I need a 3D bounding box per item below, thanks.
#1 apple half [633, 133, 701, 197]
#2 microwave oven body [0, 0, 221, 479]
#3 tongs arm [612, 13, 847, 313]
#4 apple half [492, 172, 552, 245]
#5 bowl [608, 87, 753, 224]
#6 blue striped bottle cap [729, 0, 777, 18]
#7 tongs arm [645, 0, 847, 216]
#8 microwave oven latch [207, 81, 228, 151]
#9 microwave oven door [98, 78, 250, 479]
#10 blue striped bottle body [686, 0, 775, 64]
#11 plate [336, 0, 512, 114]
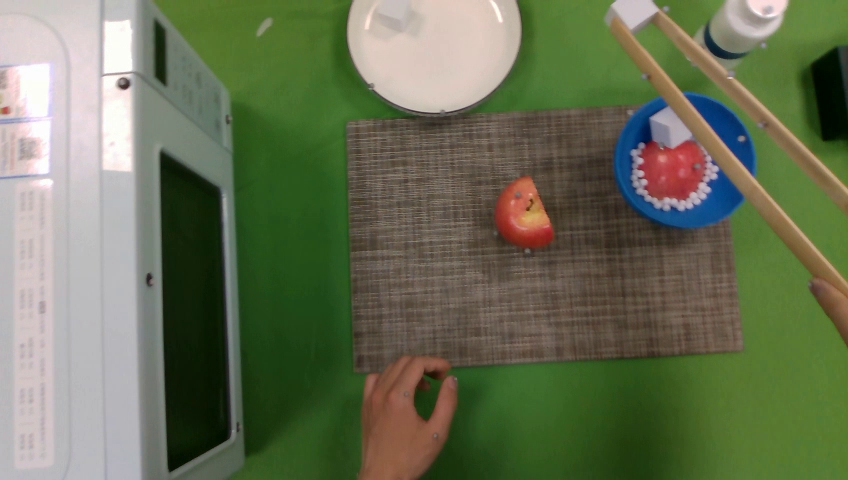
[{"bbox_3d":[0.277,-0.087,0.680,0.081,0.033,0.081,0,83,1],"label":"apple half"},{"bbox_3d":[-0.379,0.033,0.585,0.326,0.260,0.440,-5,84,-1],"label":"microwave oven body"},{"bbox_3d":[0.276,-0.063,0.519,0.028,0.028,0.384,-27,66,-6],"label":"tongs arm"},{"bbox_3d":[0.104,-0.029,0.683,0.053,0.075,0.080,-24,87,3],"label":"apple half"},{"bbox_3d":[0.276,-0.087,0.685,0.151,0.077,0.151,0,83,1],"label":"bowl"},{"bbox_3d":[0.346,-0.256,0.635,0.044,0.020,0.044,0,86,0],"label":"blue striped bottle cap"},{"bbox_3d":[0.298,-0.075,0.519,0.051,0.027,0.381,-32,67,-4],"label":"tongs arm"},{"bbox_3d":[-0.246,-0.143,0.701,0.030,0.029,0.079,-6,84,-1],"label":"microwave oven latch"},{"bbox_3d":[-0.229,0.061,0.576,0.039,0.244,0.354,-6,83,0],"label":"microwave oven door"},{"bbox_3d":[0.347,-0.248,0.685,0.063,0.121,0.063,0,82,1],"label":"blue striped bottle body"},{"bbox_3d":[0.000,-0.249,0.730,0.208,0.039,0.207,0,84,0],"label":"plate"}]
